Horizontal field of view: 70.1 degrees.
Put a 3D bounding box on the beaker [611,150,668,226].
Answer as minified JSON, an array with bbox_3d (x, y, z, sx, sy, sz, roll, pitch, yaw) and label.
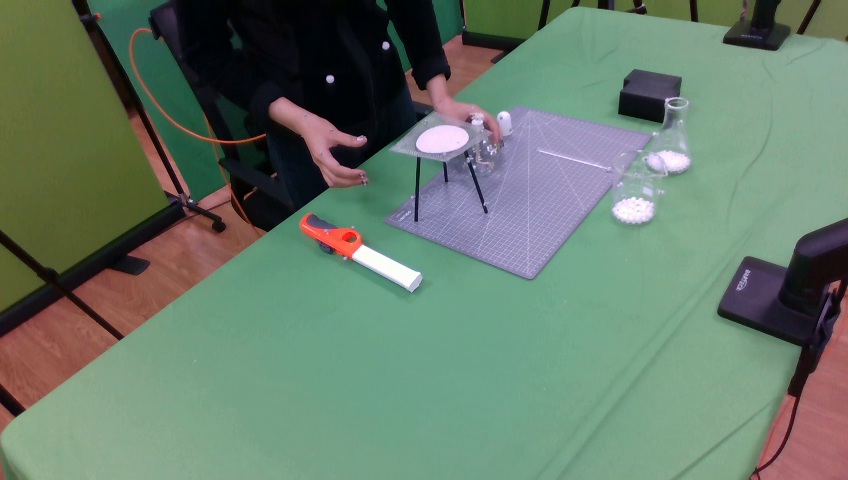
[{"bbox_3d":[0.337,-0.079,0.953,0.083,0.101,0.074,25,51,33],"label":"beaker"}]

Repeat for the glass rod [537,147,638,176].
[{"bbox_3d":[0.294,-0.145,1.104,0.198,0.008,0.008,22,50,31],"label":"glass rod"}]

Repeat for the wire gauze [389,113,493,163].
[{"bbox_3d":[0.026,-0.164,0.977,0.120,0.011,0.125,23,49,35],"label":"wire gauze"}]

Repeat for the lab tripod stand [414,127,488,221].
[{"bbox_3d":[0.035,-0.114,1.021,0.148,0.132,0.147,-7,39,6],"label":"lab tripod stand"}]

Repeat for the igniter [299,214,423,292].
[{"bbox_3d":[-0.112,0.016,0.983,0.274,0.025,0.057,26,62,35],"label":"igniter"}]

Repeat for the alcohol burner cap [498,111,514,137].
[{"bbox_3d":[0.163,-0.235,1.211,0.034,0.048,0.033,-6,40,6],"label":"alcohol burner cap"}]

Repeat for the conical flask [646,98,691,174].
[{"bbox_3d":[0.426,-0.180,1.037,0.075,0.122,0.075,-5,40,5],"label":"conical flask"}]

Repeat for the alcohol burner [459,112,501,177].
[{"bbox_3d":[0.100,-0.176,1.098,0.078,0.119,0.077,-6,39,6],"label":"alcohol burner"}]
